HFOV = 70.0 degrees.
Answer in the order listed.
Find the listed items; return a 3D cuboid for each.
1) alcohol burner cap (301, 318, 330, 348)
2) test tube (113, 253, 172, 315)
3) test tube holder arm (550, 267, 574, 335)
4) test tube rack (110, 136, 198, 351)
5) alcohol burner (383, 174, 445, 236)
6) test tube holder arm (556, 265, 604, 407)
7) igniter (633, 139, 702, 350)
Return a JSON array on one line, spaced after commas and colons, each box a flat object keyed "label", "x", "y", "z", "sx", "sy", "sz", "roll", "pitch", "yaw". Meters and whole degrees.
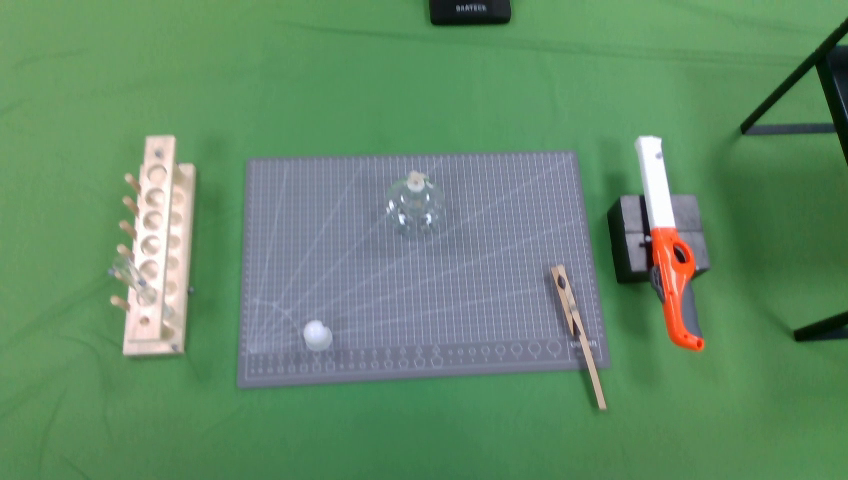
[{"label": "alcohol burner cap", "x": -0.130, "y": 0.108, "z": 0.716, "sx": 0.034, "sy": 0.048, "sz": 0.033, "roll": 2, "pitch": 69, "yaw": -4}, {"label": "test tube", "x": -0.299, "y": 0.051, "z": 0.652, "sx": 0.017, "sy": 0.151, "sz": 0.017, "roll": 2, "pitch": 64, "yaw": -4}, {"label": "test tube holder arm", "x": 0.175, "y": 0.077, "z": 0.762, "sx": 0.010, "sy": 0.015, "sz": 0.087, "roll": -19, "pitch": 74, "yaw": 14}, {"label": "test tube rack", "x": -0.323, "y": 0.004, "z": 0.720, "sx": 0.067, "sy": 0.085, "sz": 0.240, "roll": -2, "pitch": 71, "yaw": -4}, {"label": "alcohol burner", "x": -0.012, "y": -0.050, "z": 0.743, "sx": 0.078, "sy": 0.120, "sz": 0.077, "roll": 1, "pitch": 71, "yaw": -1}, {"label": "test tube holder arm", "x": 0.192, "y": 0.117, "z": 0.749, "sx": 0.013, "sy": 0.015, "sz": 0.177, "roll": -19, "pitch": 74, "yaw": 14}, {"label": "igniter", "x": 0.296, "y": -0.001, "z": 0.745, "sx": 0.057, "sy": 0.025, "sz": 0.274, "roll": 1, "pitch": 68, "yaw": -6}]
